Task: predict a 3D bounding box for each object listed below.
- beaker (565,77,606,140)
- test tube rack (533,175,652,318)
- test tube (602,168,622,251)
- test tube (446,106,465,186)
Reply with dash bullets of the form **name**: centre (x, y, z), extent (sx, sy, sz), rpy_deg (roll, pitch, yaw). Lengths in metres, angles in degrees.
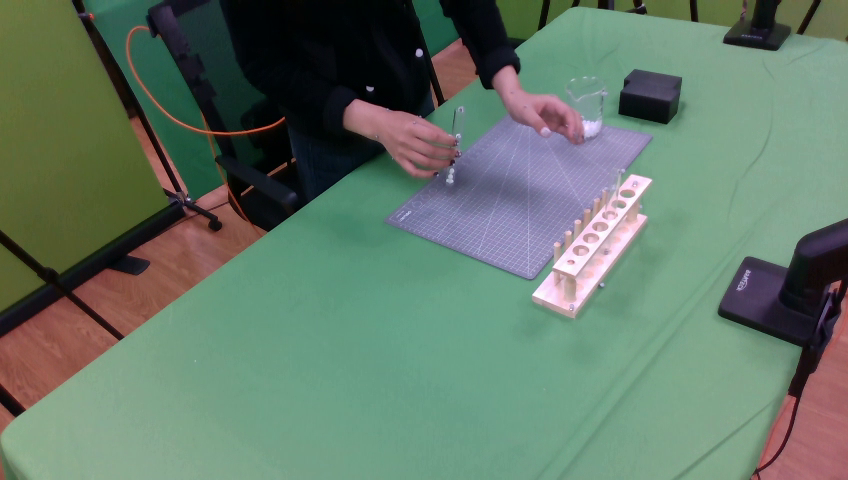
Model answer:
- **beaker**: centre (0.305, -0.247, 1.153), extent (0.073, 0.101, 0.084), rpy_deg (15, 47, 27)
- **test tube rack**: centre (0.251, -0.001, 0.888), extent (0.066, 0.085, 0.243), rpy_deg (22, 49, 33)
- **test tube**: centre (0.264, -0.039, 0.853), extent (0.017, 0.151, 0.017), rpy_deg (-5, 44, 6)
- **test tube**: centre (0.050, -0.149, 0.978), extent (0.017, 0.151, 0.017), rpy_deg (4, 42, -3)
